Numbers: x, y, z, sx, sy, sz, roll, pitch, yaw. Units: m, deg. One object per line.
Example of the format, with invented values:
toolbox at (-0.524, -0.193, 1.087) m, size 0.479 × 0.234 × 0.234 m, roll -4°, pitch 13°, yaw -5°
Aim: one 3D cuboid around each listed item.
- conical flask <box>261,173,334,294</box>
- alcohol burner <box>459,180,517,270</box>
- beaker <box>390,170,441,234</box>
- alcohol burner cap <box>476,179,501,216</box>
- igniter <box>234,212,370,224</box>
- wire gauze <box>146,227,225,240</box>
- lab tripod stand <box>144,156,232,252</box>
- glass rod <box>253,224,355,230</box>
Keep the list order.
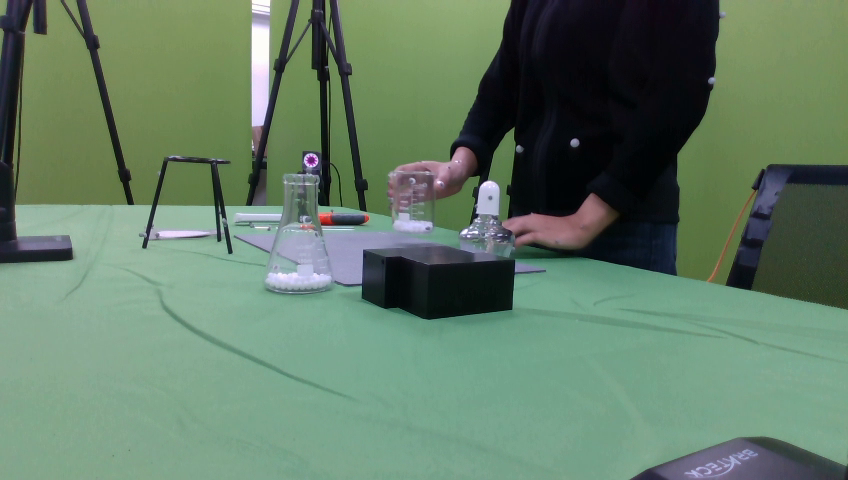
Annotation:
conical flask at (-0.131, -0.009, 0.633) m, size 0.075 × 0.122 × 0.075 m, roll 2°, pitch 8°, yaw 0°
alcohol burner at (0.086, -0.021, 0.806) m, size 0.078 × 0.119 × 0.078 m, roll 3°, pitch 9°, yaw 0°
beaker at (-0.016, -0.063, 0.979) m, size 0.084 × 0.100 × 0.074 m, roll 3°, pitch 8°, yaw 12°
alcohol burner cap at (0.086, -0.057, 0.801) m, size 0.034 × 0.048 × 0.034 m, roll 4°, pitch 2°, yaw 0°
igniter at (-0.247, -0.046, 1.253) m, size 0.278 × 0.025 × 0.057 m, roll -1°, pitch -2°, yaw -27°
wire gauze at (-0.400, -0.012, 1.019) m, size 0.122 × 0.011 × 0.124 m, roll -1°, pitch 6°, yaw -26°
lab tripod stand at (-0.325, -0.054, 0.881) m, size 0.148 × 0.131 × 0.148 m, roll 4°, pitch 7°, yaw 0°
glass rod at (-0.226, -0.024, 1.162) m, size 0.201 × 0.008 × 0.008 m, roll 1°, pitch 7°, yaw -29°
